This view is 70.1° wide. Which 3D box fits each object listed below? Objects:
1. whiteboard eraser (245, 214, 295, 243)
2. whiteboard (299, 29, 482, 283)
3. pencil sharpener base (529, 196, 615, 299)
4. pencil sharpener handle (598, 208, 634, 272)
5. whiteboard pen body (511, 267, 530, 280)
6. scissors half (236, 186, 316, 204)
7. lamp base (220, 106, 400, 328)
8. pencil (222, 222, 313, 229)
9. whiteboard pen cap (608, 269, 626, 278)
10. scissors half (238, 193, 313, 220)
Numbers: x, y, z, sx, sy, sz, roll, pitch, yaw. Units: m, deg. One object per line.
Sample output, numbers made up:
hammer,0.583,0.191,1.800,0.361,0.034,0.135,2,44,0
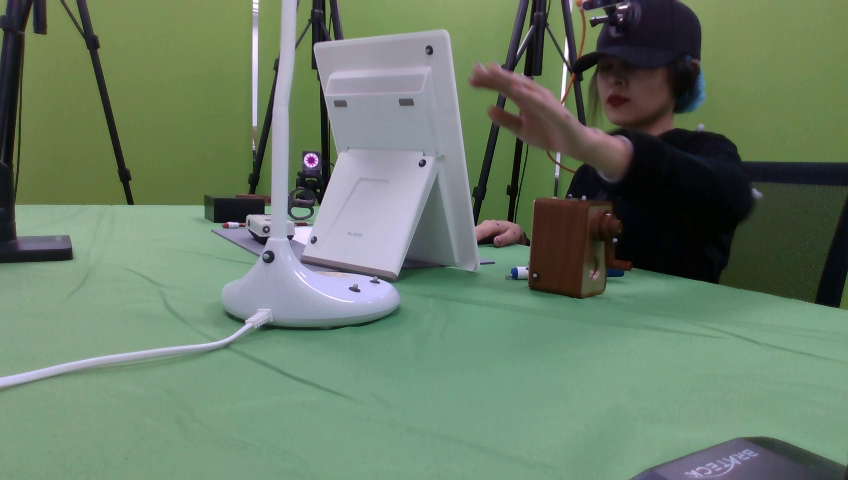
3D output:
whiteboard eraser,-0.247,-0.018,0.965,0.056,0.042,0.112,0,8,-28
whiteboard,-0.074,-0.082,0.742,0.216,0.305,0.144,9,29,37
pencil sharpener base,0.168,0.007,0.678,0.076,0.107,0.062,10,10,42
pencil sharpener handle,0.208,0.000,0.645,0.030,0.068,0.036,10,22,42
whiteboard pen body,0.179,0.041,0.758,0.141,0.017,0.017,-1,8,-8
scissors half,-0.320,-0.096,1.316,0.176,0.040,0.013,-4,14,-29
lamp base,-0.101,-0.023,0.531,0.160,0.180,0.179,4,10,10
pencil,-0.302,-0.030,1.189,0.195,0.012,0.012,-2,9,-42
whiteboard pen cap,0.238,0.039,0.767,0.033,0.018,0.018,-2,8,-8
scissors half,-0.325,-0.077,1.320,0.176,0.040,0.012,17,9,-32
